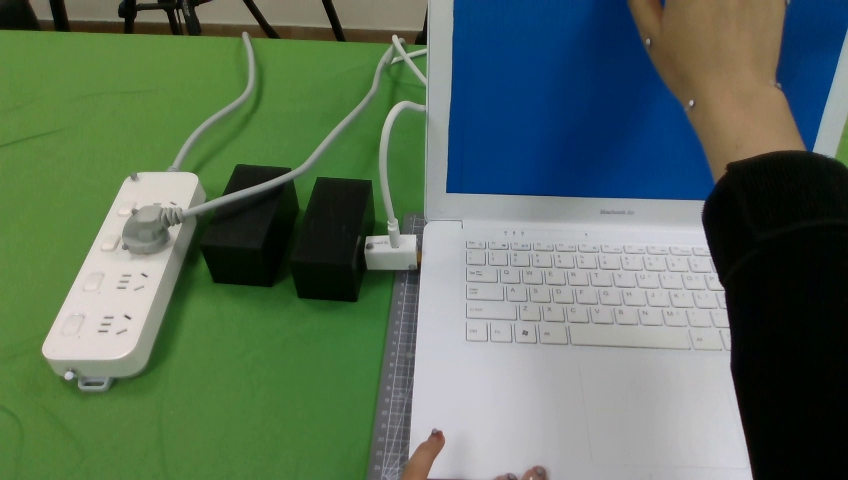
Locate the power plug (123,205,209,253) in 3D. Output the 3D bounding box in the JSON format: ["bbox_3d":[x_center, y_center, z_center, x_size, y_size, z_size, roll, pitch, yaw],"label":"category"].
[{"bbox_3d":[-0.215,-0.002,0.507,0.072,0.053,0.035,9,48,7],"label":"power plug"}]

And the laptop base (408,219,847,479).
[{"bbox_3d":[0.169,0.079,0.477,0.354,0.023,0.233,2,50,1],"label":"laptop base"}]

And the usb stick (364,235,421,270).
[{"bbox_3d":[-0.021,0.011,0.522,0.059,0.027,0.021,1,45,0],"label":"usb stick"}]

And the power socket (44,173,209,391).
[{"bbox_3d":[-0.245,0.021,0.517,0.072,0.033,0.224,1,47,-1],"label":"power socket"}]

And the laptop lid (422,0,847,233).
[{"bbox_3d":[0.176,-0.114,0.506,0.357,0.243,0.013,0,25,1],"label":"laptop lid"}]
